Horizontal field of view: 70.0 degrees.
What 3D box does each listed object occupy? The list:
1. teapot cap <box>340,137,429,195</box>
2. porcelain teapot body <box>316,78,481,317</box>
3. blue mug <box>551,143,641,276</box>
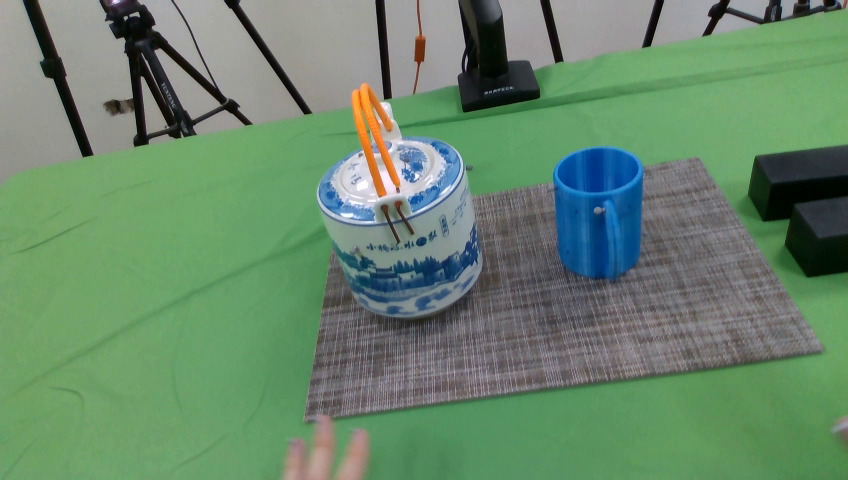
[{"bbox_3d":[-0.038,-0.072,0.561,0.085,0.044,0.084,-6,39,5],"label":"teapot cap"},{"bbox_3d":[-0.032,-0.060,0.607,0.145,0.227,0.203,-14,39,1],"label":"porcelain teapot body"},{"bbox_3d":[0.172,-0.021,0.592,0.082,0.107,0.115,-10,40,6],"label":"blue mug"}]
